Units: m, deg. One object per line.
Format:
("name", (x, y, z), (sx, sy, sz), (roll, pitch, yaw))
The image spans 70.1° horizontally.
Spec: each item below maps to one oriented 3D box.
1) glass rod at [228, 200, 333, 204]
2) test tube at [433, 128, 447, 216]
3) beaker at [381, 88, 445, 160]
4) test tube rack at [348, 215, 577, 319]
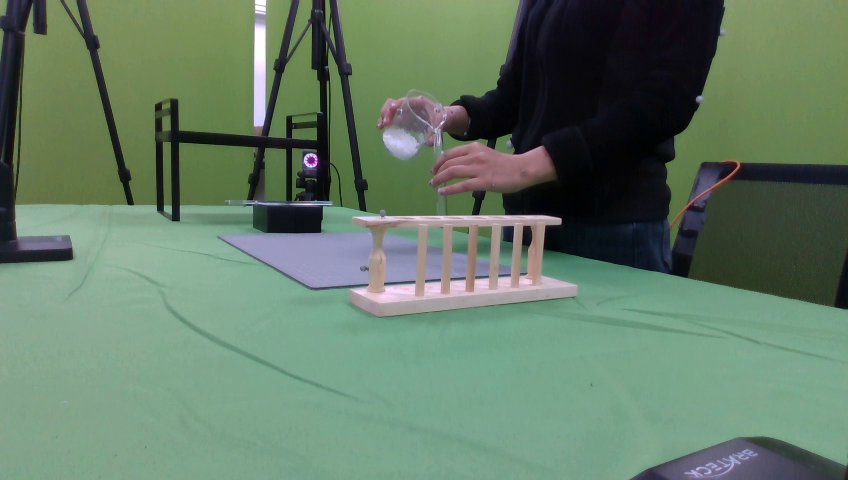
("glass rod", (-0.268, -0.071, 1.143), (0.201, 0.008, 0.008), (-1, 8, -29))
("test tube", (0.026, -0.100, 0.949), (0.017, 0.150, 0.017), (-3, -3, 0))
("beaker", (-0.020, -0.186, 0.997), (0.074, 0.083, 0.100), (-12, -25, -40))
("test tube rack", (0.048, 0.021, 0.619), (0.244, 0.085, 0.066), (-2, 9, -31))
